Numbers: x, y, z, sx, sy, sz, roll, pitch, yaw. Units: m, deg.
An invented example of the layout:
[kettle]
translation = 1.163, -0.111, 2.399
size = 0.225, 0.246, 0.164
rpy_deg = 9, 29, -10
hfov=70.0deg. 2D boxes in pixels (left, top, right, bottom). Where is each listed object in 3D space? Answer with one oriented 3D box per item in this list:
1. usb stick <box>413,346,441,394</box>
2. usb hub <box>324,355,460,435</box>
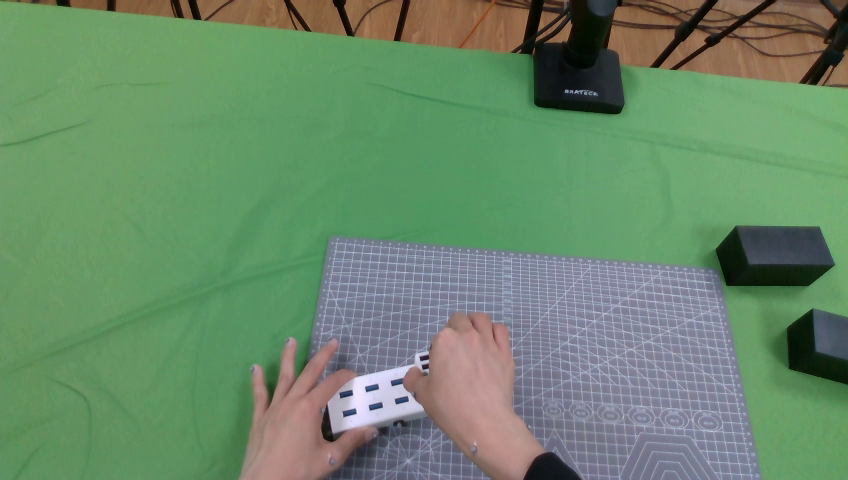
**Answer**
[usb stick]
translation = 0.003, 0.124, 0.565
size = 0.021, 0.059, 0.027
rpy_deg = -13, 53, -9
[usb hub]
translation = -0.032, 0.149, 0.588
size = 0.125, 0.025, 0.049
rpy_deg = -10, 60, -11
